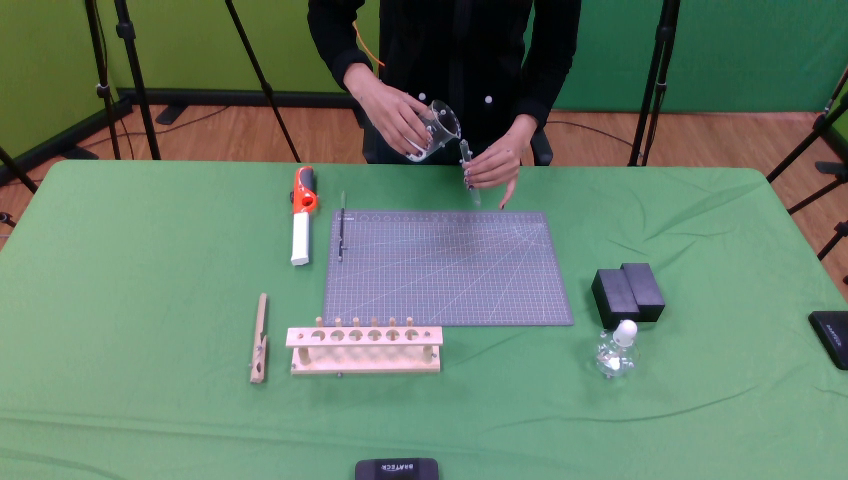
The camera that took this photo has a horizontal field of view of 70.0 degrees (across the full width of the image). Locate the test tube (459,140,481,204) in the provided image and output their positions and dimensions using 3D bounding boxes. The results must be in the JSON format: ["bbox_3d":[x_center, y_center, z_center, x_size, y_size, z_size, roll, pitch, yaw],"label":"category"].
[{"bbox_3d":[0.088,-0.124,1.140,0.017,0.151,0.017,-10,44,10],"label":"test tube"}]

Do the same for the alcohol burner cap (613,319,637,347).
[{"bbox_3d":[0.323,0.146,0.966,0.034,0.048,0.033,-1,52,2],"label":"alcohol burner cap"}]

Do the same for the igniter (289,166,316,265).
[{"bbox_3d":[-0.248,-0.058,1.233,0.057,0.025,0.274,-9,47,1],"label":"igniter"}]

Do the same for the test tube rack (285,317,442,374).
[{"bbox_3d":[-0.095,0.166,0.988,0.242,0.085,0.066,0,46,-4],"label":"test tube rack"}]

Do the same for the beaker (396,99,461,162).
[{"bbox_3d":[0.006,-0.192,1.093,0.084,0.100,0.073,46,35,-18],"label":"beaker"}]

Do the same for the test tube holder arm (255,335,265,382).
[{"bbox_3d":[-0.270,0.193,0.997,0.010,0.015,0.087,24,36,-32],"label":"test tube holder arm"}]

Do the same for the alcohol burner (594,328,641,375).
[{"bbox_3d":[0.322,0.170,0.994,0.078,0.119,0.077,3,48,-3],"label":"alcohol burner"}]

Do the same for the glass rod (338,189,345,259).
[{"bbox_3d":[-0.166,-0.037,1.226,0.008,0.008,0.198,-1,47,-4],"label":"glass rod"}]

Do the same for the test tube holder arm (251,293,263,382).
[{"bbox_3d":[-0.281,0.159,1.025,0.013,0.015,0.177,24,36,-33],"label":"test tube holder arm"}]
